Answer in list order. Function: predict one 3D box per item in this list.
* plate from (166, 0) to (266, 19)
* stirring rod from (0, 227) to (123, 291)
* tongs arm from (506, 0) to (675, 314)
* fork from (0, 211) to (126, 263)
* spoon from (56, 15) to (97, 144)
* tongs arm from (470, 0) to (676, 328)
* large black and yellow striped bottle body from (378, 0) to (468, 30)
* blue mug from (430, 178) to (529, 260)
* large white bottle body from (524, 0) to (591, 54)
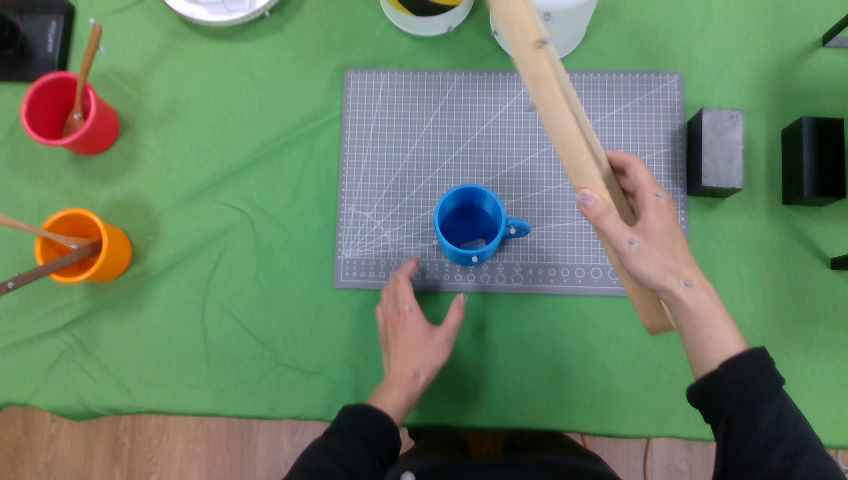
[{"bbox_3d":[-0.278,-0.397,0.829,0.207,0.039,0.207,0,82,2],"label":"plate"},{"bbox_3d":[-0.444,0.024,0.726,0.014,0.006,0.176,48,44,4],"label":"stirring rod"},{"bbox_3d":[0.146,-0.081,0.556,0.027,0.028,0.390,-23,113,26],"label":"tongs arm"},{"bbox_3d":[-0.466,-0.015,0.726,0.209,0.018,0.028,26,79,-38],"label":"fork"},{"bbox_3d":[-0.431,-0.194,0.753,0.041,0.021,0.194,48,130,11],"label":"spoon"},{"bbox_3d":[0.138,-0.065,0.534,0.026,0.050,0.387,-21,111,30],"label":"tongs arm"},{"bbox_3d":[-0.005,-0.359,0.741,0.131,0.184,0.130,0,81,2],"label":"large black and yellow striped bottle body"},{"bbox_3d":[0.067,-0.021,0.728,0.116,0.106,0.082,2,81,2],"label":"blue mug"},{"bbox_3d":[0.144,-0.319,0.729,0.130,0.185,0.130,0,82,2],"label":"large white bottle body"}]
